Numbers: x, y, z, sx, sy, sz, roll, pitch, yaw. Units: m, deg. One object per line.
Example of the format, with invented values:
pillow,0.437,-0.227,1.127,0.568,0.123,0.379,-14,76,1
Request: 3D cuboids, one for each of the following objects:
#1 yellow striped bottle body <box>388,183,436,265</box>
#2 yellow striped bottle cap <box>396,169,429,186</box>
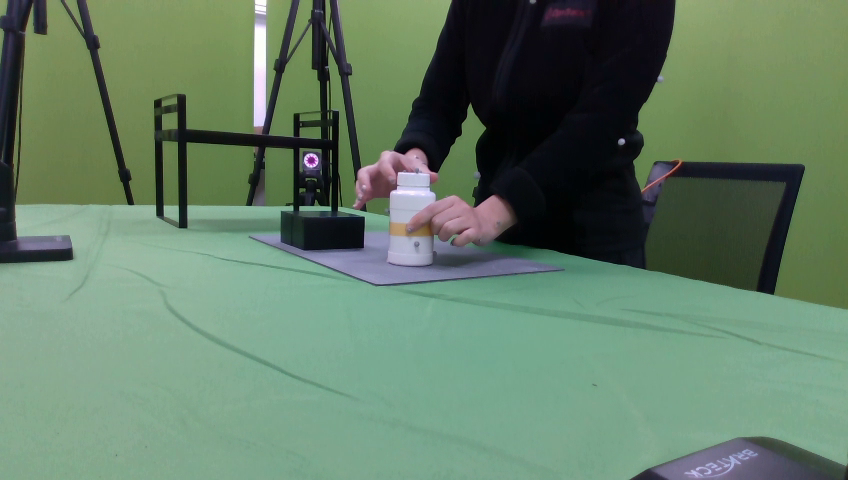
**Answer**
yellow striped bottle body,-0.015,-0.030,0.811,0.063,0.120,0.063,2,7,0
yellow striped bottle cap,-0.015,-0.083,0.804,0.044,0.018,0.044,5,9,0
